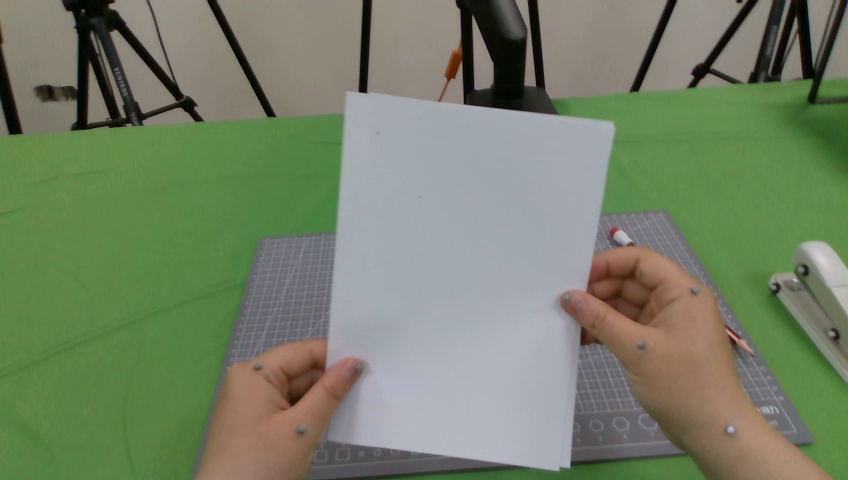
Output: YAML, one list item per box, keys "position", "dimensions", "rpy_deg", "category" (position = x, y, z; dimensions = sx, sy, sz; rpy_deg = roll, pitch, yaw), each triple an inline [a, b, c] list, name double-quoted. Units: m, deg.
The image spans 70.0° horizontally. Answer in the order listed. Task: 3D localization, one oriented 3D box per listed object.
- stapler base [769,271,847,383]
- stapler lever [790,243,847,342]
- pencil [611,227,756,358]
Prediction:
- position: [0.349, 0.066, 0.522]
  dimensions: [0.041, 0.024, 0.129]
  rpy_deg: [-7, 39, -1]
  category: "stapler base"
- position: [0.348, 0.048, 0.506]
  dimensions: [0.027, 0.040, 0.117]
  rpy_deg: [-7, 38, -1]
  category: "stapler lever"
- position: [0.235, 0.043, 0.565]
  dimensions: [0.012, 0.012, 0.192]
  rpy_deg: [-16, 40, -16]
  category: "pencil"
